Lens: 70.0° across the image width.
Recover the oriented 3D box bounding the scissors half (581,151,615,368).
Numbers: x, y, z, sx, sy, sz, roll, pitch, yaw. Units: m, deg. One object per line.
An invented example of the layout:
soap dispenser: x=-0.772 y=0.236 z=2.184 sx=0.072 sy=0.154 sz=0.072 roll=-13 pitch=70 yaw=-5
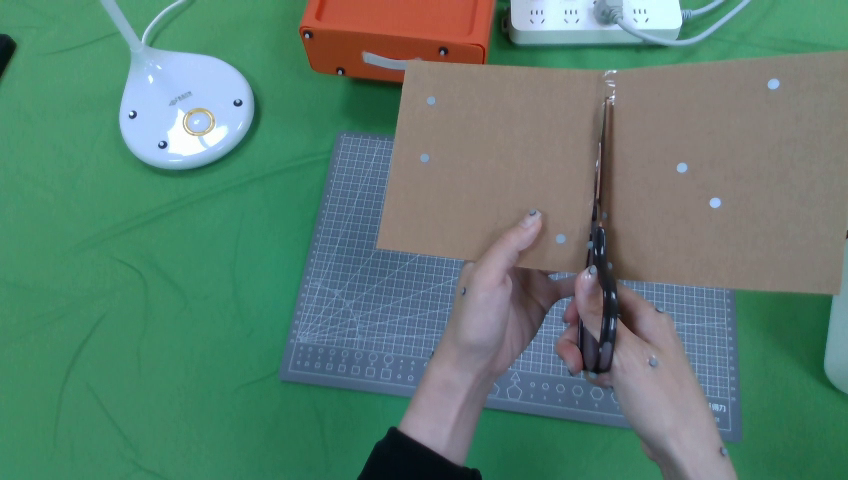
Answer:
scissors half: x=0.106 y=-0.010 z=0.369 sx=0.013 sy=0.040 sz=0.174 roll=6 pitch=67 yaw=2

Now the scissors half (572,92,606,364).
scissors half: x=0.108 y=-0.007 z=0.391 sx=0.013 sy=0.040 sz=0.175 roll=5 pitch=97 yaw=6

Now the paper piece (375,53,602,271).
paper piece: x=0.043 y=-0.055 z=0.395 sx=0.135 sy=0.009 sz=0.138 roll=7 pitch=84 yaw=13

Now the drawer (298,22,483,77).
drawer: x=-0.020 y=-0.290 z=0.697 sx=0.194 sy=0.074 sz=0.210 roll=7 pitch=67 yaw=6

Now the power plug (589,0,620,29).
power plug: x=0.215 y=-0.269 z=0.728 sx=0.035 sy=0.053 sz=0.072 roll=11 pitch=68 yaw=7

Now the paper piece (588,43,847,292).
paper piece: x=0.166 y=-0.043 z=0.354 sx=0.134 sy=0.004 sz=0.135 roll=5 pitch=90 yaw=29

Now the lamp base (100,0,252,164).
lamp base: x=-0.301 y=-0.200 z=0.663 sx=0.178 sy=0.181 sz=0.160 roll=38 pitch=73 yaw=20

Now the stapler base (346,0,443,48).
stapler base: x=-0.038 y=-0.273 z=0.709 sx=0.129 sy=0.024 sz=0.041 roll=36 pitch=89 yaw=19

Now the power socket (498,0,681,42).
power socket: x=0.208 y=-0.286 z=0.760 sx=0.227 sy=0.033 sz=0.071 roll=1 pitch=67 yaw=2

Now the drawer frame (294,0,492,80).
drawer frame: x=-0.021 y=-0.293 z=0.698 sx=0.201 sy=0.083 sz=0.212 roll=7 pitch=66 yaw=6

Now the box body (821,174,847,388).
box body: x=0.545 y=-0.004 z=0.555 sx=0.253 sy=0.161 sz=0.362 roll=19 pitch=69 yaw=10

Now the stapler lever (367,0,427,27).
stapler lever: x=-0.046 y=-0.278 z=0.685 sx=0.117 sy=0.040 sz=0.027 roll=36 pitch=89 yaw=20
